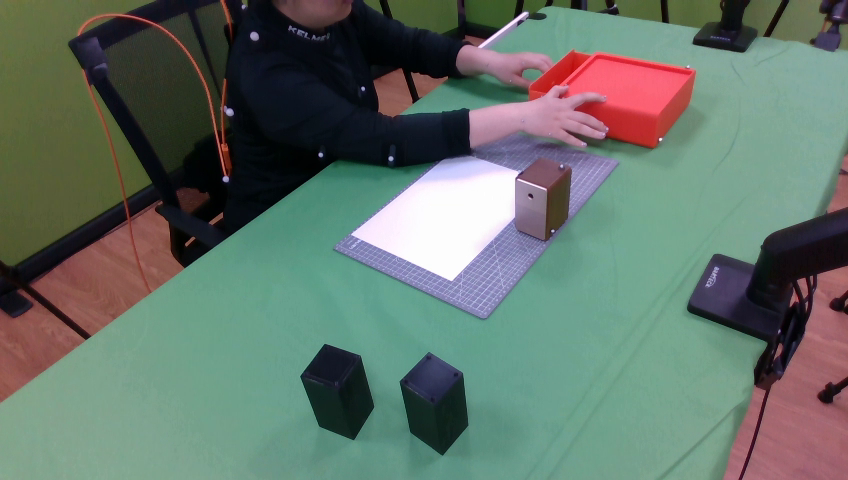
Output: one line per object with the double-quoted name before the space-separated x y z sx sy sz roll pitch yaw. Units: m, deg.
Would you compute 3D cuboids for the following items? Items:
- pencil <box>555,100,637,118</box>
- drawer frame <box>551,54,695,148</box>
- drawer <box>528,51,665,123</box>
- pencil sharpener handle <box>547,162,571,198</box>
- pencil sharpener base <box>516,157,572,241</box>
"pencil" 0.355 -0.270 1.238 0.195 0.012 0.012 -14 40 -16
"drawer frame" 0.391 -0.281 1.197 0.212 0.083 0.202 22 48 30
"drawer" 0.348 -0.297 1.224 0.210 0.073 0.195 23 48 30
"pencil sharpener handle" 0.222 -0.101 0.967 0.035 0.068 0.031 19 46 38
"pencil sharpener base" 0.189 -0.065 0.948 0.061 0.107 0.077 24 49 33
